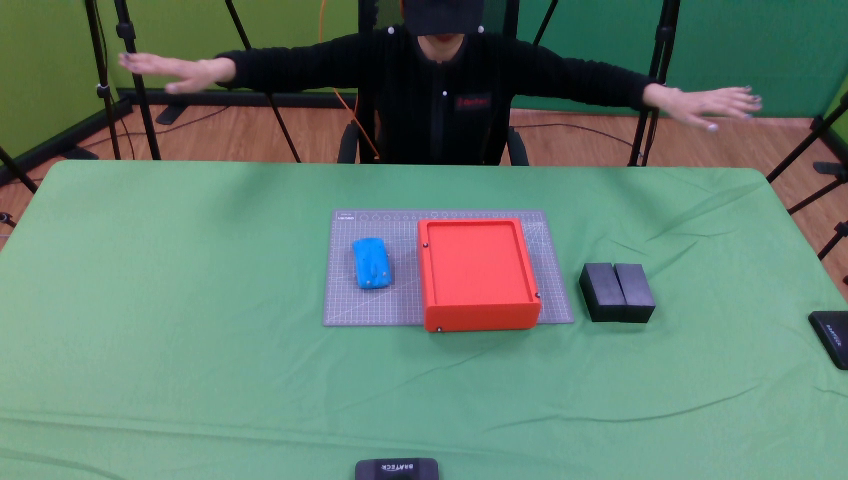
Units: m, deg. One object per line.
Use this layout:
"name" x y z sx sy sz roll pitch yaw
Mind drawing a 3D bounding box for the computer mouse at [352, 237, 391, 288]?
"computer mouse" -0.100 0.039 1.140 0.063 0.041 0.116 -5 51 -11

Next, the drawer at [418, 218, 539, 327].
"drawer" 0.092 0.055 1.108 0.195 0.073 0.210 0 47 -6

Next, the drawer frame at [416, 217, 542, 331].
"drawer frame" 0.092 0.056 1.105 0.202 0.083 0.212 -1 47 -6
